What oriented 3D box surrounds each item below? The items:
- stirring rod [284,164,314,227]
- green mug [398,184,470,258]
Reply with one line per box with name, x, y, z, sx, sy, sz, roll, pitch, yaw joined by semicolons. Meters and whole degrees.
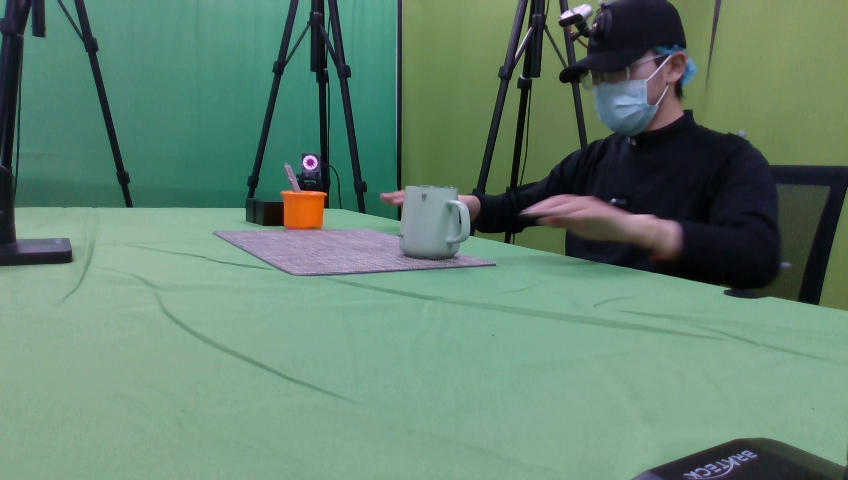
stirring rod;-0.259;-0.094;1.243;0.014;0.006;0.175;1;49;-39
green mug;0.020;-0.028;0.890;0.093;0.105;0.124;-4;10;-42
